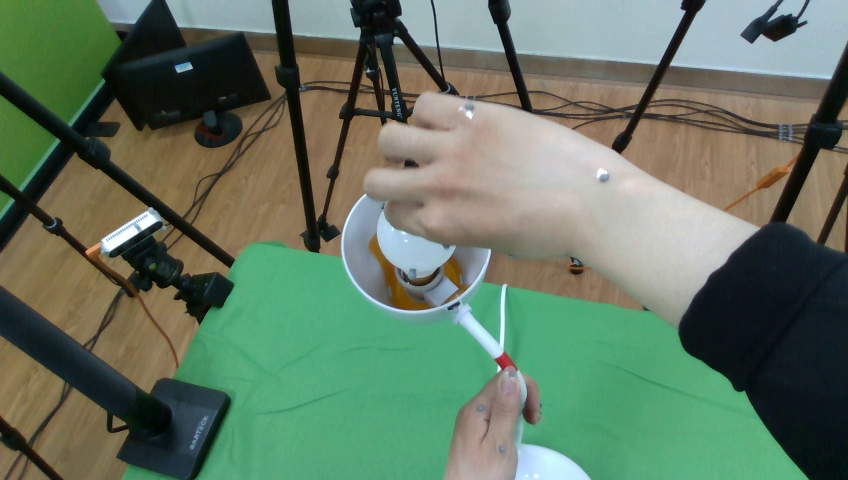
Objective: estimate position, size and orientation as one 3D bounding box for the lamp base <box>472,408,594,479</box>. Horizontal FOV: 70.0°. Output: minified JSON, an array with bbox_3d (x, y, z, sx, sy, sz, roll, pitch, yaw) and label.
[{"bbox_3d":[0.114,0.263,0.649,0.161,0.182,0.177,-24,54,-9],"label":"lamp base"}]

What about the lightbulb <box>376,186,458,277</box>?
[{"bbox_3d":[-0.005,0.001,0.465,0.059,0.108,0.059,0,65,0],"label":"lightbulb"}]

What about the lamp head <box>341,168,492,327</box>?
[{"bbox_3d":[0.001,0.020,0.492,0.112,0.124,0.111,-3,64,7],"label":"lamp head"}]
